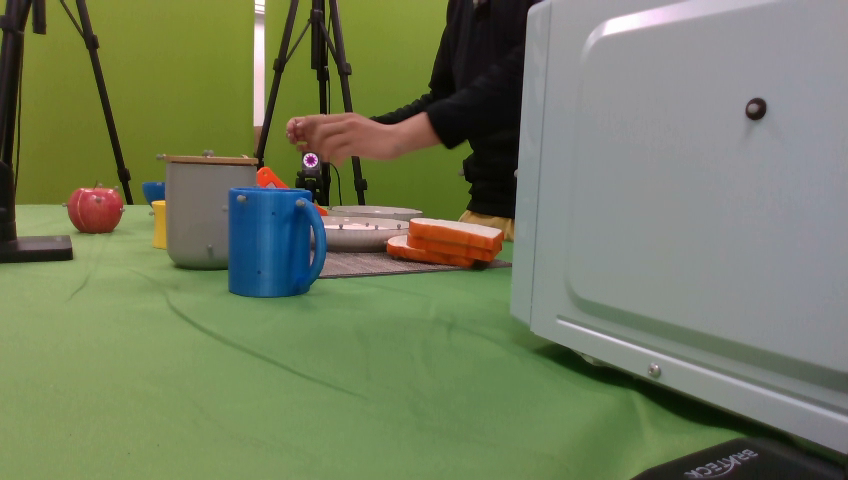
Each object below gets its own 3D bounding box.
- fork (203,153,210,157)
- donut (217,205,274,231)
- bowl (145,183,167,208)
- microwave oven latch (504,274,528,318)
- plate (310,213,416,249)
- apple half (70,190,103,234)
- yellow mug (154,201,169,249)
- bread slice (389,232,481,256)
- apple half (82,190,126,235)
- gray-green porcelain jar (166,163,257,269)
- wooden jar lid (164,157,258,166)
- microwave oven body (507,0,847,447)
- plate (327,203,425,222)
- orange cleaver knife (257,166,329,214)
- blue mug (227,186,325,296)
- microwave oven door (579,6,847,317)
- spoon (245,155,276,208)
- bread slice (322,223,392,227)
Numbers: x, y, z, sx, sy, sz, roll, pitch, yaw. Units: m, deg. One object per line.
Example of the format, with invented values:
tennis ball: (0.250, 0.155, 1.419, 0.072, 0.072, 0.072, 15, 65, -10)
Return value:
fork: (-0.480, -0.136, 1.411, 0.028, 0.018, 0.207, 1, -34, -1)
donut: (-0.318, -0.038, 1.080, 0.099, 0.048, 0.099, 3, 6, 0)
bowl: (-0.459, -0.068, 1.175, 0.151, 0.077, 0.151, 3, 7, 0)
microwave oven latch: (0.100, 0.041, 0.471, 0.079, 0.029, 0.030, -1, 8, -28)
plate: (-0.116, -0.014, 0.967, 0.208, 0.039, 0.207, 2, 7, 0)
apple half: (-0.552, -0.047, 1.009, 0.053, 0.074, 0.081, -1, 9, 26)
yellow mug: (-0.338, -0.022, 0.899, 0.130, 0.064, 0.100, 8, 9, 35)
bread slice: (0.016, 0.005, 0.866, 0.131, 0.019, 0.105, 4, 7, 8)
apple half: (-0.516, -0.046, 0.994, 0.032, 0.081, 0.081, 0, 6, 26)
gray-green porcelain jar: (-0.263, -0.032, 0.754, 0.106, 0.126, 0.106, 2, 7, 0)
wooden jar lid: (-0.261, -0.093, 0.746, 0.108, 0.020, 0.108, 0, 9, 0)
microwave oven body: (0.331, -0.042, 0.425, 0.444, 0.260, 0.324, -2, 8, -31)
plate: (-0.102, -0.053, 1.298, 0.209, 0.038, 0.209, 2, 8, 0)
orange cleaver knife: (-0.293, -0.086, 1.330, 0.212, 0.077, 0.012, 34, -15, -39)
blue mug: (-0.147, 0.000, 0.618, 0.116, 0.106, 0.083, 7, 9, 32)
microwave oven door: (0.294, -0.067, 0.570, 0.358, 0.243, 0.039, -3, 9, -31)
spoon: (-0.421, -0.150, 1.540, 0.042, 0.193, 0.021, -5, -35, -37)
bread slice: (-0.116, -0.014, 0.975, 0.135, 0.018, 0.106, -6, 11, -42)
